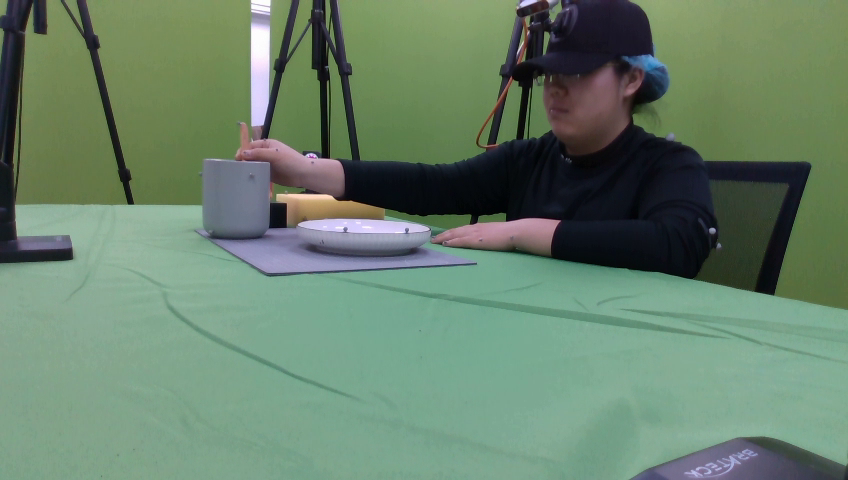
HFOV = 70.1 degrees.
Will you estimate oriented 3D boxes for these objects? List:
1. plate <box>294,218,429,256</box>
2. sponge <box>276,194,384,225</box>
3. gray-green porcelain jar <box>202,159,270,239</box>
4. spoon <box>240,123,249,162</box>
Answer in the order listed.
[{"bbox_3d":[-0.096,-0.005,0.936,0.208,0.039,0.207,3,7,0],"label":"plate"},{"bbox_3d":[-0.203,-0.066,1.312,0.208,0.061,0.117,-2,8,-35],"label":"sponge"},{"bbox_3d":[-0.310,-0.068,0.999,0.106,0.126,0.106,3,8,0],"label":"gray-green porcelain jar"},{"bbox_3d":[-0.305,-0.114,1.029,0.042,0.193,0.021,7,-19,-30],"label":"spoon"}]
